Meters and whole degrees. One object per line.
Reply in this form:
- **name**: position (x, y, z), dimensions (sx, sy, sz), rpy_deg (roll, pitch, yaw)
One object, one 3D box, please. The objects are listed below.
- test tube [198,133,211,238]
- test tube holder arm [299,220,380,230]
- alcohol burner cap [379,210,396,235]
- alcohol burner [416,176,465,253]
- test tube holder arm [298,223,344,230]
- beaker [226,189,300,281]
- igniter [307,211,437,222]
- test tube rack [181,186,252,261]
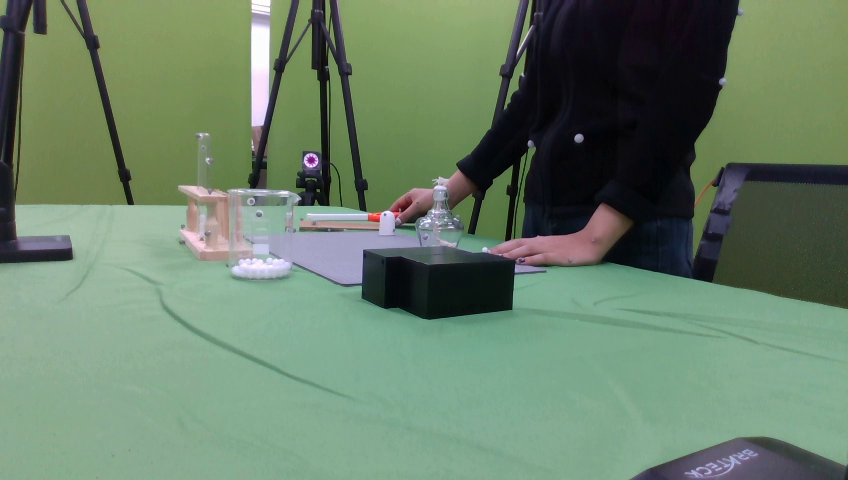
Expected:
- **test tube**: position (-0.316, -0.078, 0.871), dimensions (0.017, 0.150, 0.017), rpy_deg (2, 3, 0)
- **test tube holder arm**: position (-0.153, -0.028, 1.174), dimensions (0.179, 0.015, 0.013), rpy_deg (1, -27, -21)
- **alcohol burner cap**: position (-0.067, -0.033, 1.129), dimensions (0.034, 0.048, 0.034), rpy_deg (1, 7, 0)
- **alcohol burner**: position (0.025, -0.040, 0.935), dimensions (0.078, 0.119, 0.078), rpy_deg (1, 6, 0)
- **test tube holder arm**: position (-0.197, -0.026, 1.163), dimensions (0.088, 0.015, 0.010), rpy_deg (0, -26, -20)
- **beaker**: position (-0.184, -0.007, 0.694), dimensions (0.084, 0.100, 0.073), rpy_deg (-1, 8, -29)
- **igniter**: position (-0.110, -0.050, 1.293), dimensions (0.277, 0.025, 0.057), rpy_deg (-1, 3, -9)
- **test tube rack**: position (-0.312, -0.031, 0.893), dimensions (0.067, 0.085, 0.241), rpy_deg (-1, 8, -27)
